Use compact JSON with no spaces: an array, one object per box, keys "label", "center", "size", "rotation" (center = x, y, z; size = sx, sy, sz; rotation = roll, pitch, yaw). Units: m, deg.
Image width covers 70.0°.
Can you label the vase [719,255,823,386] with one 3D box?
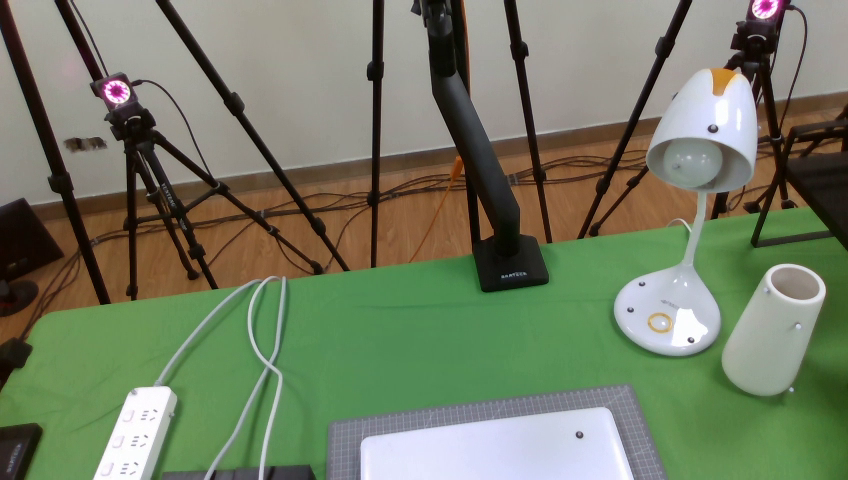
[{"label":"vase","center":[0.470,0.112,0.824],"size":[0.098,0.202,0.097],"rotation":[-5,43,5]}]

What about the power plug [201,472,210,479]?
[{"label":"power plug","center":[-0.280,0.343,0.771],"size":[0.035,0.053,0.072],"rotation":[10,51,44]}]

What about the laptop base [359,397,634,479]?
[{"label":"laptop base","center":[0.094,0.330,0.781],"size":[0.354,0.023,0.233],"rotation":[-7,48,0]}]

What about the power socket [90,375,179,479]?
[{"label":"power socket","center":[-0.420,0.293,0.876],"size":[0.072,0.033,0.224],"rotation":[-2,44,4]}]

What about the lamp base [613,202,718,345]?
[{"label":"lamp base","center":[0.383,0.039,0.924],"size":[0.159,0.182,0.178],"rotation":[18,47,24]}]

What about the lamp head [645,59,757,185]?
[{"label":"lamp head","center":[0.319,-0.137,0.681],"size":[0.112,0.113,0.122],"rotation":[15,66,22]}]

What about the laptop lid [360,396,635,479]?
[{"label":"laptop lid","center":[0.093,0.324,0.771],"size":[0.357,0.013,0.239],"rotation":[-6,47,1]}]
